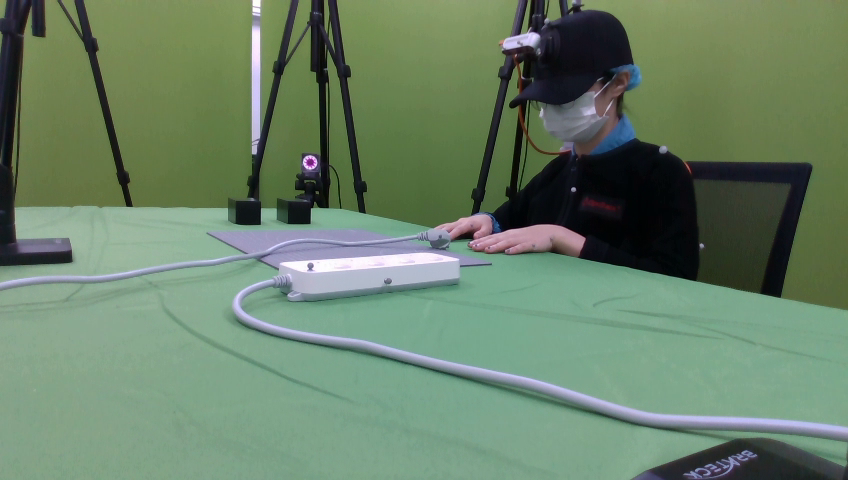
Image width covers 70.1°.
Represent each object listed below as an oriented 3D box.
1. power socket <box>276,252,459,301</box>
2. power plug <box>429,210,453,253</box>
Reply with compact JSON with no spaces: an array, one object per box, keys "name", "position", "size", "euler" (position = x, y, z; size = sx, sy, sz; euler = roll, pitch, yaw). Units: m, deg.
[{"name":"power socket","position":[-0.056,0.037,0.674],"size":[0.228,0.032,0.072],"euler":[-3,8,-38]},{"name":"power plug","position":[0.024,-0.014,0.983],"size":[0.035,0.072,0.053],"euler":[16,53,19]}]
